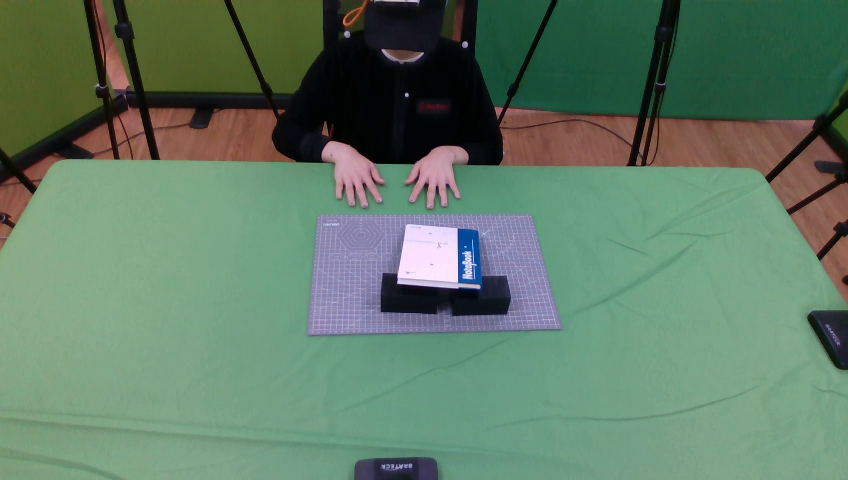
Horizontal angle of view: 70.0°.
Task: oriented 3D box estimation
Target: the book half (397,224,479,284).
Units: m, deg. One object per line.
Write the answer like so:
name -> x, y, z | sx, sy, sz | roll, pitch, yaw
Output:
book half -> 0.029, 0.023, 1.128 | 0.143, 0.007, 0.209 | 5, 28, 1
